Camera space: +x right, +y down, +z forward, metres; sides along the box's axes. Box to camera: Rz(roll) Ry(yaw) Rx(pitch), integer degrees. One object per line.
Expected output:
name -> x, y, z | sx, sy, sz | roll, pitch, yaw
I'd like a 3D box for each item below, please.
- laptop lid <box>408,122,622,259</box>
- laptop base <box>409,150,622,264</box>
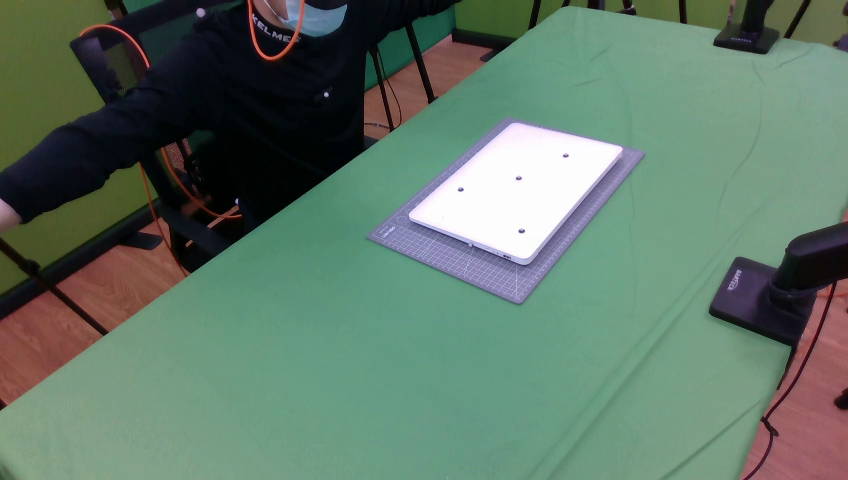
laptop lid -> 0.165, -0.105, 1.050 | 0.240, 0.013, 0.358 | 22, 48, 33
laptop base -> 0.168, -0.095, 1.057 | 0.233, 0.023, 0.355 | 20, 47, 33
